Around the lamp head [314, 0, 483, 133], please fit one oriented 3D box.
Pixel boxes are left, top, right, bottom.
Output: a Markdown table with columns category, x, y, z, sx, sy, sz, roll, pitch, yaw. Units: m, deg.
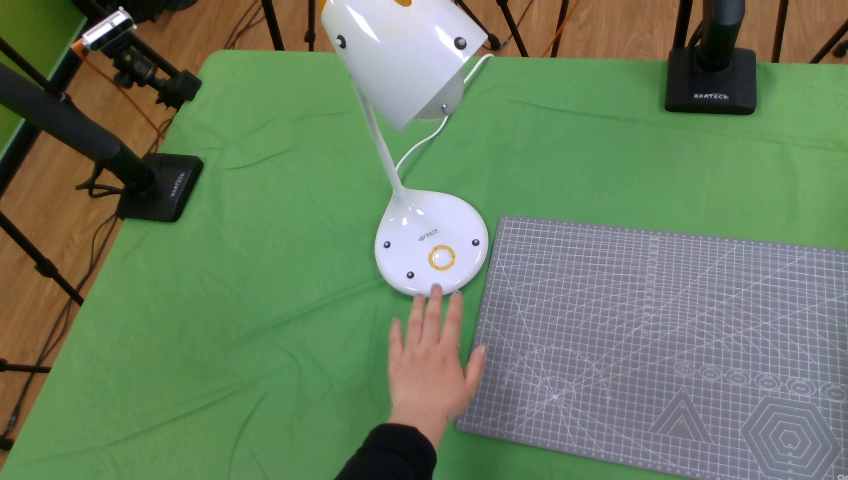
| category | x | y | z | sx | sy | sz | roll | pitch | yaw |
| --- | --- | --- | --- | --- | --- | --- | --- | --- | --- |
| lamp head | -0.031 | -0.168 | 0.506 | 0.123 | 0.112 | 0.112 | 41 | 75 | -7 |

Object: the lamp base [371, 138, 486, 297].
| category | x | y | z | sx | sy | sz | roll | pitch | yaw |
| --- | --- | --- | --- | --- | --- | --- | --- | --- | --- |
| lamp base | -0.018 | -0.038 | 0.777 | 0.160 | 0.182 | 0.177 | -38 | 58 | -9 |
